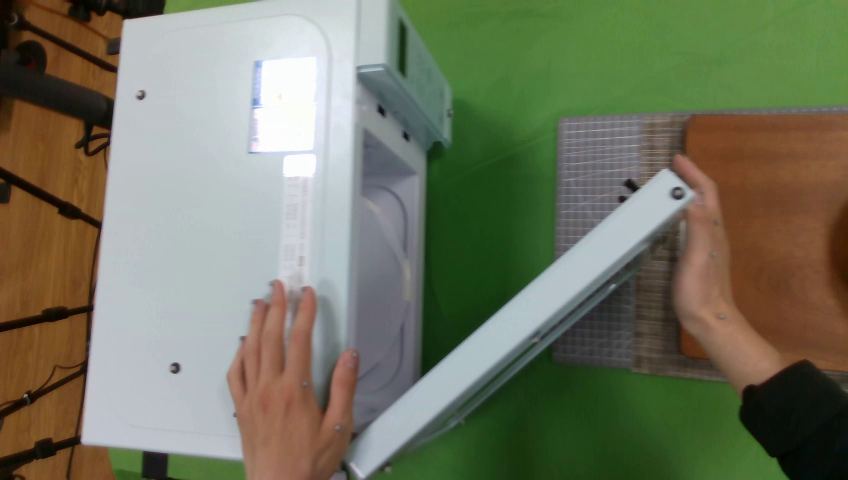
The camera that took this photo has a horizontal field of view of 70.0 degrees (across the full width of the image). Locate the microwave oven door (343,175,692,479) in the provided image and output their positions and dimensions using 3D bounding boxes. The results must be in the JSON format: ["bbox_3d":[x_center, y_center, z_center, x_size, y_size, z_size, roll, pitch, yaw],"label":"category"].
[{"bbox_3d":[0.099,0.091,0.591,0.356,0.245,0.039,-43,72,7],"label":"microwave oven door"}]

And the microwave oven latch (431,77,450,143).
[{"bbox_3d":[0.018,-0.163,0.759,0.030,0.029,0.079,0,83,16],"label":"microwave oven latch"}]

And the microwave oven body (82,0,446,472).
[{"bbox_3d":[-0.157,-0.001,0.685,0.325,0.261,0.440,-1,82,16],"label":"microwave oven body"}]
